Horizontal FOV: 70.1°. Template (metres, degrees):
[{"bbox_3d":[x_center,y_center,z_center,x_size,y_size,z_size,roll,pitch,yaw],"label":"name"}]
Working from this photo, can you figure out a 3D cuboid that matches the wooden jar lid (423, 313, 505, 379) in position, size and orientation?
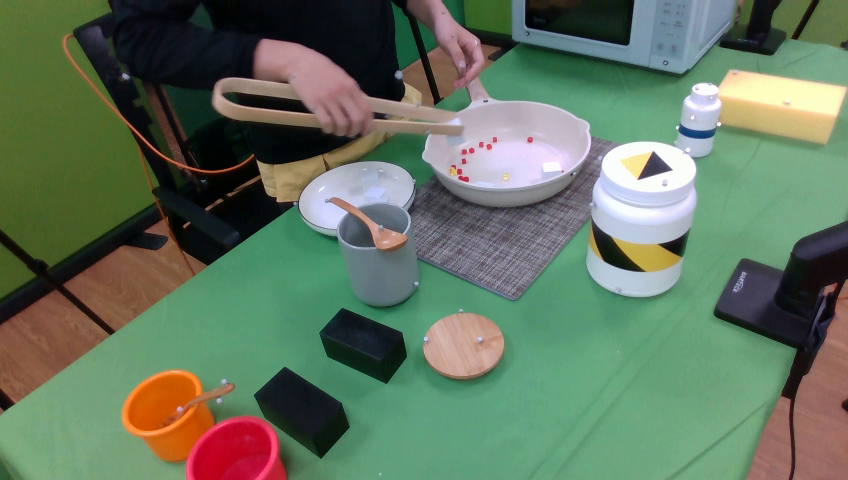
[{"bbox_3d":[0.053,0.142,0.800,0.108,0.021,0.108,-5,39,4],"label":"wooden jar lid"}]

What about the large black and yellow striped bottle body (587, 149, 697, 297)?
[{"bbox_3d":[0.298,-0.026,0.835,0.131,0.185,0.130,-4,41,4],"label":"large black and yellow striped bottle body"}]

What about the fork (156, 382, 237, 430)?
[{"bbox_3d":[-0.262,0.189,0.690,0.018,0.206,0.028,49,43,-7],"label":"fork"}]

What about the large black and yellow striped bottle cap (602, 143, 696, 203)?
[{"bbox_3d":[0.289,-0.088,0.779,0.115,0.019,0.114,-5,39,4],"label":"large black and yellow striped bottle cap"}]

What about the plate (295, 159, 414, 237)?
[{"bbox_3d":[-0.118,-0.070,1.055,0.207,0.039,0.206,-5,39,5],"label":"plate"}]

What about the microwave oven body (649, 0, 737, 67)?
[{"bbox_3d":[0.475,-0.602,1.411,0.438,0.261,0.327,23,50,32],"label":"microwave oven body"}]

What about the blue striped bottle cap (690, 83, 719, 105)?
[{"bbox_3d":[0.481,-0.251,1.038,0.044,0.021,0.044,-5,40,5],"label":"blue striped bottle cap"}]

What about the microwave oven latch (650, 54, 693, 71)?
[{"bbox_3d":[0.531,-0.386,1.301,0.078,0.029,0.030,26,51,33],"label":"microwave oven latch"}]

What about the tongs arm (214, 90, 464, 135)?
[{"bbox_3d":[-0.109,-0.184,0.907,0.390,0.027,0.028,0,61,-29],"label":"tongs arm"}]

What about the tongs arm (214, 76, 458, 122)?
[{"bbox_3d":[-0.115,-0.203,0.918,0.388,0.026,0.050,4,56,-26],"label":"tongs arm"}]

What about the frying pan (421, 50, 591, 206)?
[{"bbox_3d":[0.127,-0.233,1.155,0.307,0.103,0.484,-11,49,-5],"label":"frying pan"}]

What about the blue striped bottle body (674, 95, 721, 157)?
[{"bbox_3d":[0.486,-0.213,1.071,0.063,0.121,0.063,-4,41,4],"label":"blue striped bottle body"}]

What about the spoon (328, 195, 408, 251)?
[{"bbox_3d":[-0.083,-0.029,0.829,0.042,0.022,0.192,-31,42,-22],"label":"spoon"}]

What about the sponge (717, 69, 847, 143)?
[{"bbox_3d":[0.663,-0.256,1.142,0.205,0.061,0.118,19,47,28],"label":"sponge"}]

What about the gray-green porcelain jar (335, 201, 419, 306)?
[{"bbox_3d":[-0.064,0.024,0.872,0.106,0.127,0.105,-4,41,4],"label":"gray-green porcelain jar"}]

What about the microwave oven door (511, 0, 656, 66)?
[{"bbox_3d":[0.350,-0.539,1.349,0.353,0.245,0.039,24,50,31],"label":"microwave oven door"}]
